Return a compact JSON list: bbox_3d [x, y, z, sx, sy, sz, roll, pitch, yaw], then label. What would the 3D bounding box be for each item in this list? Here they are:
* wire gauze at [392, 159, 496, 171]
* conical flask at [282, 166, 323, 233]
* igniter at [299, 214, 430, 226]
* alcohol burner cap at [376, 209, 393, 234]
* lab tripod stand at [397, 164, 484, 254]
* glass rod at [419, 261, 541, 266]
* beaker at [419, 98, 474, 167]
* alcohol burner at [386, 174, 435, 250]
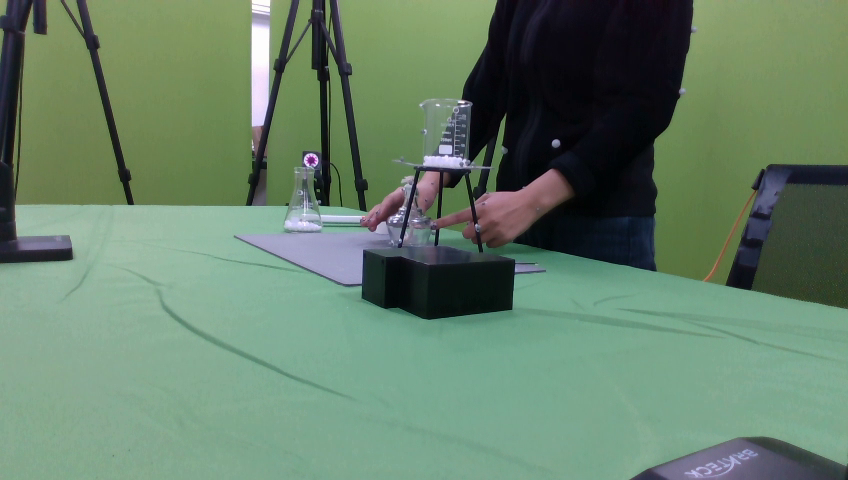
[{"bbox_3d":[0.032,-0.114,0.923,0.124,0.011,0.122,5,5,32],"label":"wire gauze"},{"bbox_3d":[-0.225,-0.076,1.129,0.075,0.122,0.075,2,8,0],"label":"conical flask"},{"bbox_3d":[-0.123,-0.044,1.281,0.278,0.025,0.057,0,-2,-19],"label":"igniter"},{"bbox_3d":[-0.075,-0.036,1.150,0.034,0.048,0.034,2,7,0],"label":"alcohol burner cap"},{"bbox_3d":[0.029,-0.049,0.930,0.148,0.131,0.148,4,7,0],"label":"lab tripod stand"},{"bbox_3d":[0.080,0.031,0.807,0.201,0.008,0.008,1,6,-32],"label":"glass rod"},{"bbox_3d":[0.032,-0.161,0.913,0.084,0.100,0.074,1,7,-10],"label":"beaker"},{"bbox_3d":[-0.021,-0.044,0.959,0.078,0.119,0.078,3,9,0],"label":"alcohol burner"}]
